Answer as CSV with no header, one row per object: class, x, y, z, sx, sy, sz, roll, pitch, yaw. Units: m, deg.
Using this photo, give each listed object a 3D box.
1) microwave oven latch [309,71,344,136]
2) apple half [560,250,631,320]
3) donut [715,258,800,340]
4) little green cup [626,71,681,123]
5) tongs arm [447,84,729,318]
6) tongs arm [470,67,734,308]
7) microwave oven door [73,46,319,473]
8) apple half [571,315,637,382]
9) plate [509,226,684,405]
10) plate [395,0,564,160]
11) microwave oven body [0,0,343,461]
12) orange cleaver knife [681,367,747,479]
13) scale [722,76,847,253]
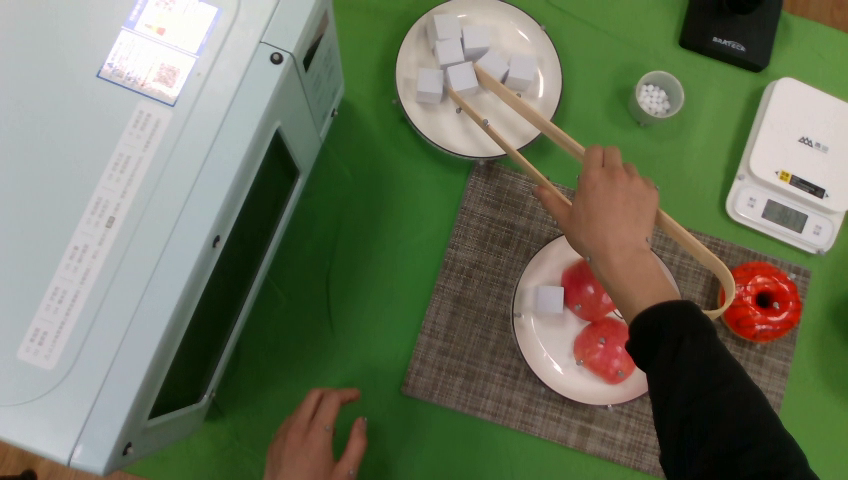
microwave oven latch,-0.120,-0.165,0.715,0.030,0.029,0.079,24,82,-1
apple half,0.204,0.050,0.711,0.081,0.053,0.074,-25,82,-7
donut,0.403,0.072,0.736,0.099,0.048,0.098,0,83,-2
little green cup,0.288,-0.179,0.768,0.061,0.039,0.061,1,82,-4
tongs arm,0.158,-0.058,0.649,0.051,0.027,0.381,-35,65,-9
tongs arm,0.177,-0.073,0.653,0.028,0.028,0.384,-37,66,-14
microwave oven door,-0.194,0.022,0.581,0.039,0.244,0.355,21,81,-1
apple half,0.217,0.125,0.711,0.081,0.033,0.081,0,83,-1
plate,0.201,0.088,0.721,0.209,0.038,0.208,1,82,-4
plate,0.067,-0.198,0.754,0.208,0.039,0.207,1,82,-4
microwave oven body,-0.315,-0.070,0.590,0.326,0.260,0.440,21,82,-2
orange cleaver knife,0.347,0.259,0.719,0.077,0.012,0.210,1,81,-9
scale,0.479,-0.097,0.775,0.149,0.031,0.200,23,82,-1
